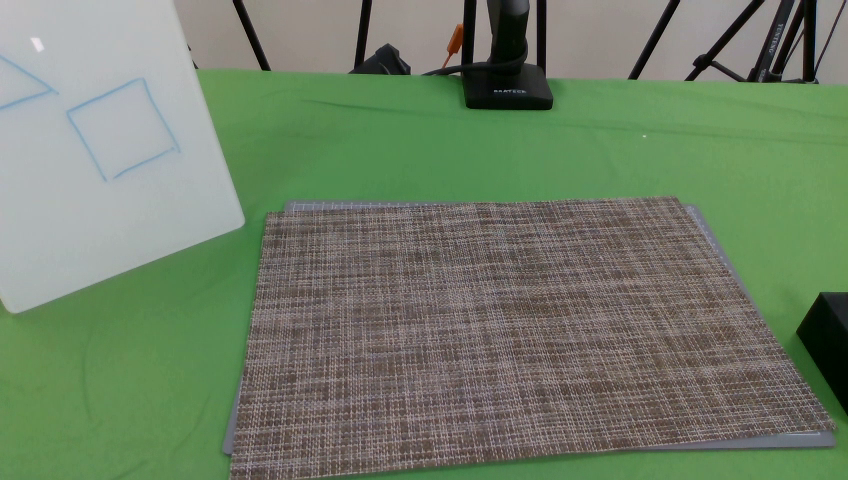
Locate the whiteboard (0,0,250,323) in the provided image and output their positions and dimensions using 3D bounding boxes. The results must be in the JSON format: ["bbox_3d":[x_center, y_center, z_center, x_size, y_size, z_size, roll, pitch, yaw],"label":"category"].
[{"bbox_3d":[-0.328,-0.122,0.555,0.217,0.308,0.142,-25,28,-28],"label":"whiteboard"}]
